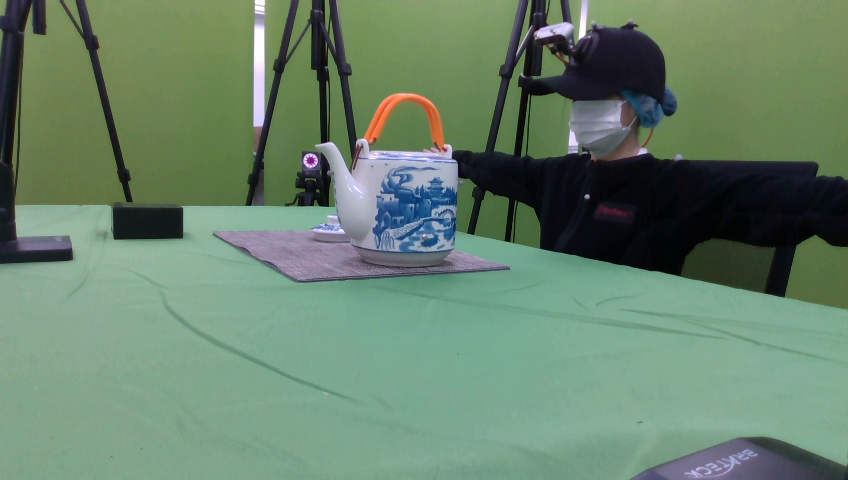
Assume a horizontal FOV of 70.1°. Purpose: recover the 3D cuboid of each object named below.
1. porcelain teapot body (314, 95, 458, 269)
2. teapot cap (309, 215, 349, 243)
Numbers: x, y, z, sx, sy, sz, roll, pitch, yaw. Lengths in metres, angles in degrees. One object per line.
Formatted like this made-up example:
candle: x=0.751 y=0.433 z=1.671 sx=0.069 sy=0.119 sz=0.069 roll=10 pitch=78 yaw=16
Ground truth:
porcelain teapot body: x=-0.049 y=-0.079 z=0.800 sx=0.206 sy=0.225 sz=0.144 roll=-3 pitch=9 yaw=-37
teapot cap: x=-0.151 y=-0.020 z=1.013 sx=0.085 sy=0.044 sz=0.085 roll=3 pitch=10 yaw=0
